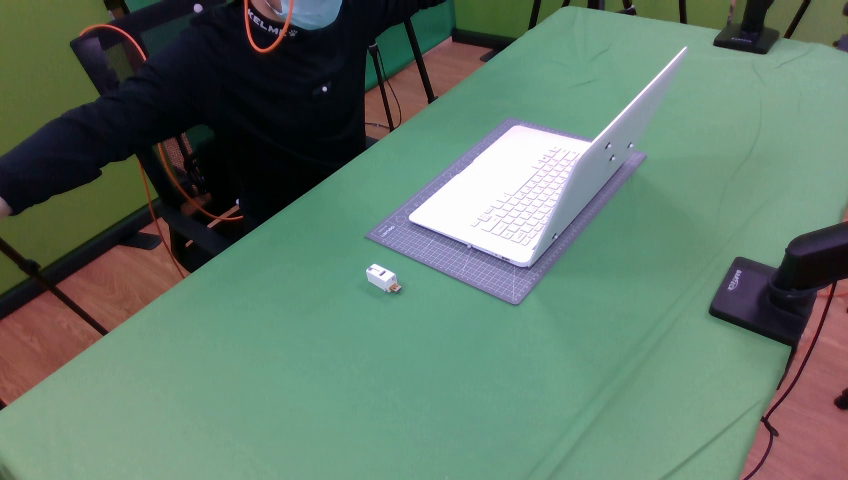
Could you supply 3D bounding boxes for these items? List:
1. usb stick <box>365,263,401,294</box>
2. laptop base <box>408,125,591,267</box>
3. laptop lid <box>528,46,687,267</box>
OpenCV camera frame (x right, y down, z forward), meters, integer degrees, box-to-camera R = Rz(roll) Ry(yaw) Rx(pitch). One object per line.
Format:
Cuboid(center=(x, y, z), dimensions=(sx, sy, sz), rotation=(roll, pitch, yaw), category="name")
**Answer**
Cuboid(center=(-0.059, 0.060, 0.903), dimensions=(0.058, 0.027, 0.021), rotation=(28, 51, 30), category="usb stick")
Cuboid(center=(0.168, -0.092, 1.054), dimensions=(0.233, 0.023, 0.355), rotation=(21, 47, 33), category="laptop base")
Cuboid(center=(0.277, -0.126, 0.903), dimensions=(0.013, 0.242, 0.358), rotation=(35, 53, 17), category="laptop lid")
